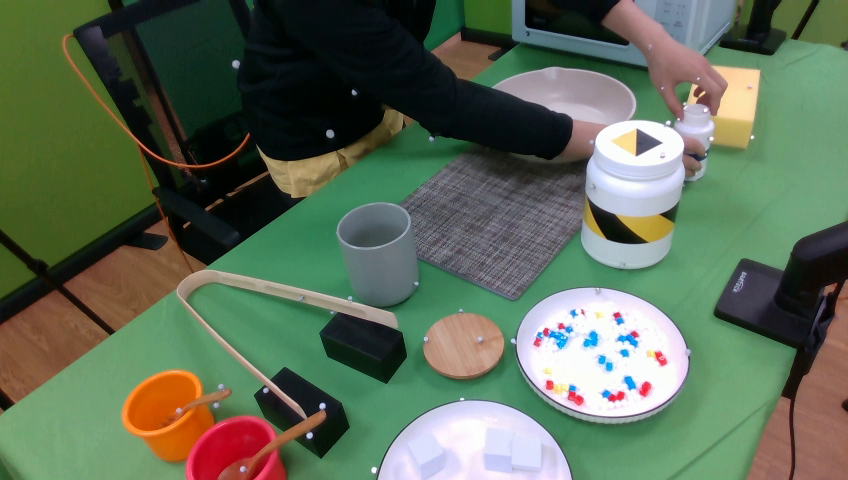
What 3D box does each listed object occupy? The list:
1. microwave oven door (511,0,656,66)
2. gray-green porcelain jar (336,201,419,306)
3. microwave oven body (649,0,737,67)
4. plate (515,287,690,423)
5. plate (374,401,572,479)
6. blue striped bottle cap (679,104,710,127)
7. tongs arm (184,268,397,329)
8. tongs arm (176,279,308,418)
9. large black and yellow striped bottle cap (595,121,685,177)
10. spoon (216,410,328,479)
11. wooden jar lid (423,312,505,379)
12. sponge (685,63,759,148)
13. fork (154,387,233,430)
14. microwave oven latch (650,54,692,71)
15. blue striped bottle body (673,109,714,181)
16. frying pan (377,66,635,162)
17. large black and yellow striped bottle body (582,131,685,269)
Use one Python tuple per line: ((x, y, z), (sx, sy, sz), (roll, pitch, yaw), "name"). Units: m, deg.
((0.351, -0.539, 1.348), (0.353, 0.245, 0.039), (24, 50, 31), "microwave oven door")
((-0.064, 0.024, 0.872), (0.106, 0.127, 0.105), (-4, 41, 4), "gray-green porcelain jar")
((0.475, -0.602, 1.411), (0.438, 0.261, 0.327), (23, 50, 32), "microwave oven body")
((0.221, 0.144, 0.760), (0.209, 0.038, 0.208), (-4, 40, 4), "plate")
((0.051, 0.268, 0.639), (0.207, 0.039, 0.206), (-3, 40, 3), "plate")
((0.443, -0.205, 0.990), (0.044, 0.021, 0.044), (-1, 43, 1), "blue striped bottle cap")
((-0.202, 0.084, 0.848), (0.382, 0.027, 0.051), (11, 45, 35), "tongs arm")
((-0.255, 0.132, 0.801), (0.028, 0.028, 0.384), (-41, 40, -23), "tongs arm")
((0.292, -0.126, 0.821), (0.115, 0.019, 0.114), (-5, 40, 4), "large black and yellow striped bottle cap")
((-0.165, 0.224, 0.640), (0.193, 0.022, 0.041), (-41, 31, 30), "spoon")
((0.053, 0.142, 0.800), (0.108, 0.021, 0.108), (-4, 39, 4), "wooden jar lid")
((0.569, -0.263, 1.164), (0.117, 0.061, 0.207), (12, 45, 22), "sponge")
((-0.264, 0.191, 0.687), (0.206, 0.018, 0.028), (-33, 9, 44), "fork")
((0.530, -0.386, 1.301), (0.078, 0.029, 0.030), (23, 50, 31), "microwave oven latch")
((0.450, -0.166, 1.023), (0.063, 0.121, 0.063), (-5, 41, 5), "blue striped bottle body")
((0.150, -0.255, 1.177), (0.488, 0.103, 0.306), (7, 41, 4), "frying pan")
((0.301, -0.063, 0.877), (0.131, 0.185, 0.130), (-4, 41, 4), "large black and yellow striped bottle body")
